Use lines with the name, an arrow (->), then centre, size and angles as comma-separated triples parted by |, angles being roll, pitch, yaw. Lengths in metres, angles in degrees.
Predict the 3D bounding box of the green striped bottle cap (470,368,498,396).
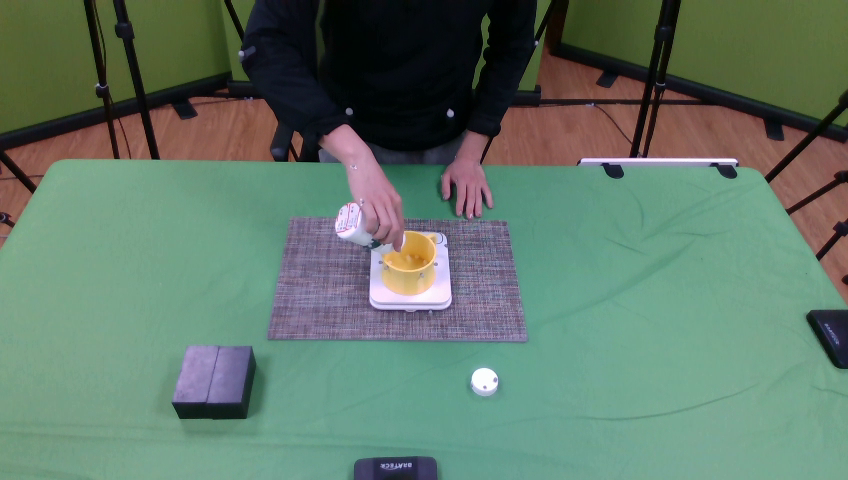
green striped bottle cap -> 0.097, 0.231, 0.989 | 0.044, 0.020, 0.044 | 2, 44, -2

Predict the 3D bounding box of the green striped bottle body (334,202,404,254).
green striped bottle body -> -0.087, -0.016, 1.013 | 0.120, 0.063, 0.063 | 24, 28, -44

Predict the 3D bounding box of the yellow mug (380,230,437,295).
yellow mug -> -0.020, 0.030, 1.089 | 0.099, 0.064, 0.130 | 31, 51, 24

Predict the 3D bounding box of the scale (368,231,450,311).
scale -> -0.029, 0.048, 1.137 | 0.149, 0.032, 0.199 | 1, 46, -4
